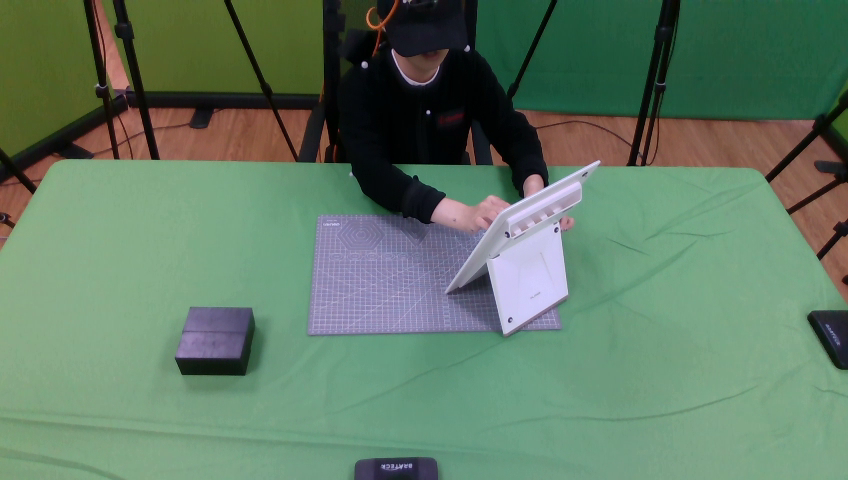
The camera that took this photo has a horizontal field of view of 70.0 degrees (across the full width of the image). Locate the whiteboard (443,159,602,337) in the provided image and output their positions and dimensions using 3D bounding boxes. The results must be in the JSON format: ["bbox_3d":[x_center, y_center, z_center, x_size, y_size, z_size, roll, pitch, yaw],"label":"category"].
[{"bbox_3d":[0.193,0.037,1.018,0.217,0.306,0.143,-26,72,-26],"label":"whiteboard"}]

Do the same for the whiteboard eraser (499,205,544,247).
[{"bbox_3d":[0.172,-0.025,1.069,0.041,0.101,0.019,-13,62,-54],"label":"whiteboard eraser"}]
